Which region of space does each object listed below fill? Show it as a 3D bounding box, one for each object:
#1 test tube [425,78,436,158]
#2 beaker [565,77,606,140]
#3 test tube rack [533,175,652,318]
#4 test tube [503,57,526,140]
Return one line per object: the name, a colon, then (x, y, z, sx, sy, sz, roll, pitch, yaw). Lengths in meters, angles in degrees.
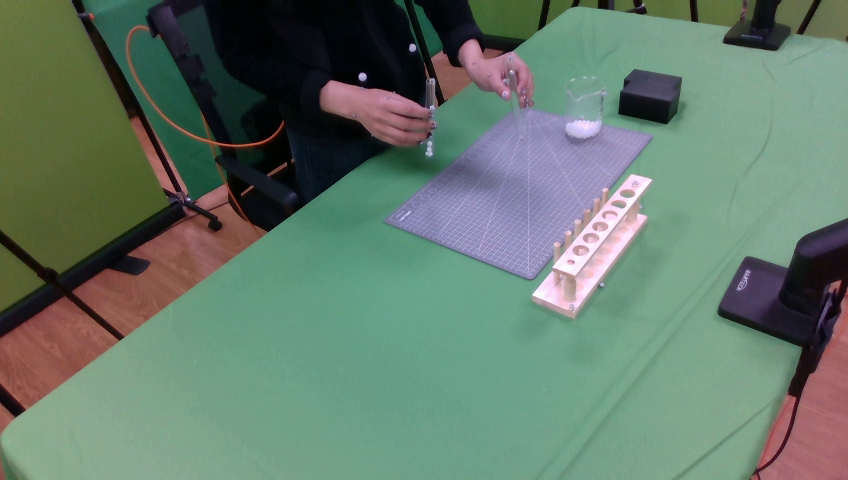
test tube: (0.010, -0.199, 1.006, 0.017, 0.151, 0.017, 1, 43, 0)
beaker: (0.304, -0.247, 1.153, 0.073, 0.101, 0.084, 15, 47, 27)
test tube rack: (0.250, -0.001, 0.889, 0.066, 0.085, 0.243, 22, 49, 33)
test tube: (0.152, -0.232, 1.004, 0.017, 0.151, 0.017, -11, 39, 10)
